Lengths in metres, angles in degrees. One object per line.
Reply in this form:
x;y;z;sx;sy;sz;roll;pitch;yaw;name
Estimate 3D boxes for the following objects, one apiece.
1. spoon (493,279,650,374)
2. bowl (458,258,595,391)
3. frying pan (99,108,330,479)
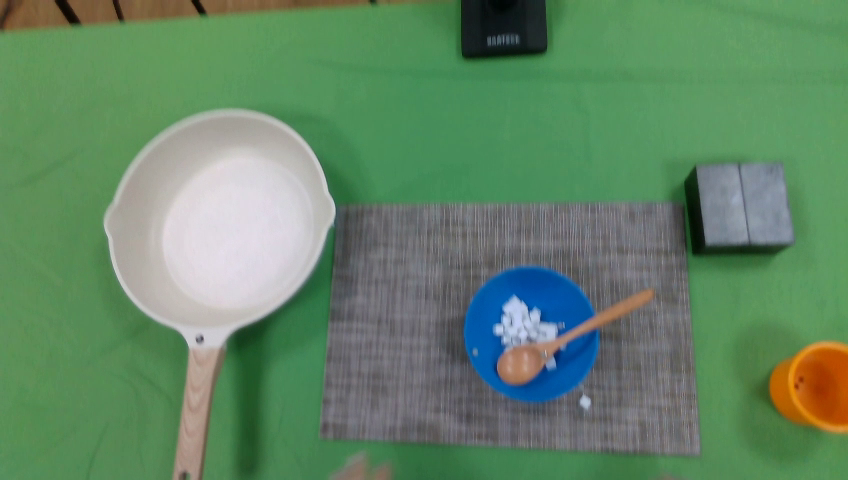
0.163;0.095;0.676;0.194;0.022;0.041;-32;67;17;spoon
0.119;0.103;0.713;0.151;0.077;0.150;-2;75;6;bowl
-0.268;0.066;0.759;0.306;0.103;0.484;-2;66;7;frying pan
